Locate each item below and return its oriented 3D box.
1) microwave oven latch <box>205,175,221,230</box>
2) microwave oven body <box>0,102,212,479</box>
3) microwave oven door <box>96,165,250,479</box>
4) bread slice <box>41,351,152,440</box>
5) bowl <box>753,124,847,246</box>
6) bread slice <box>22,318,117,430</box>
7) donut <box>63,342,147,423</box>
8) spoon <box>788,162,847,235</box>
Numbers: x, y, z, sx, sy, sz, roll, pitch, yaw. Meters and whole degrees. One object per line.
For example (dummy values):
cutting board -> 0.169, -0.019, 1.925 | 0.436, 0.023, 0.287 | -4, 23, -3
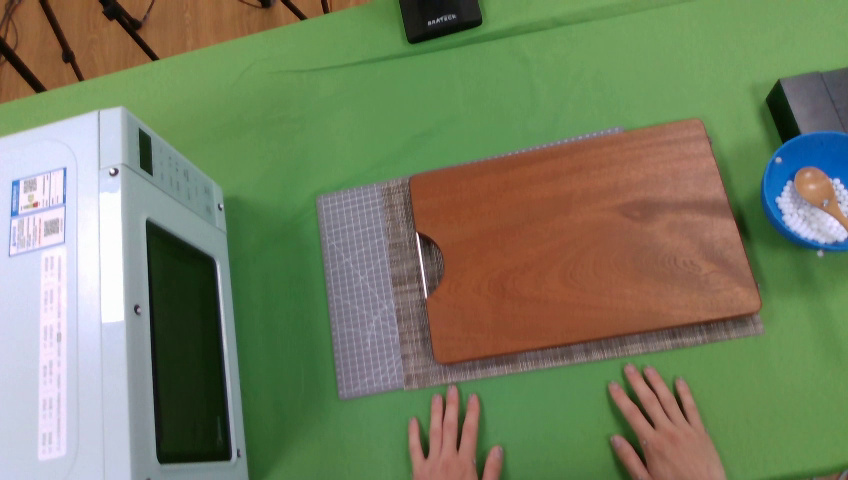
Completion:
microwave oven latch -> -0.313, -0.052, 0.874 | 0.030, 0.030, 0.078 | -14, 72, 5
microwave oven body -> -0.438, 0.117, 0.739 | 0.326, 0.262, 0.438 | -14, 71, 5
microwave oven door -> -0.290, 0.118, 0.708 | 0.039, 0.245, 0.353 | -14, 71, 5
bread slice -> -0.422, 0.194, 0.771 | 0.131, 0.019, 0.104 | 5, 76, 7
bowl -> 0.472, -0.055, 0.737 | 0.151, 0.077, 0.150 | -3, 73, 9
bread slice -> -0.414, 0.165, 0.704 | 0.134, 0.018, 0.106 | -23, 71, 16
donut -> -0.393, 0.175, 0.747 | 0.099, 0.048, 0.099 | 0, 86, -3
spoon -> 0.477, -0.020, 0.693 | 0.041, 0.022, 0.191 | -12, 48, 4
